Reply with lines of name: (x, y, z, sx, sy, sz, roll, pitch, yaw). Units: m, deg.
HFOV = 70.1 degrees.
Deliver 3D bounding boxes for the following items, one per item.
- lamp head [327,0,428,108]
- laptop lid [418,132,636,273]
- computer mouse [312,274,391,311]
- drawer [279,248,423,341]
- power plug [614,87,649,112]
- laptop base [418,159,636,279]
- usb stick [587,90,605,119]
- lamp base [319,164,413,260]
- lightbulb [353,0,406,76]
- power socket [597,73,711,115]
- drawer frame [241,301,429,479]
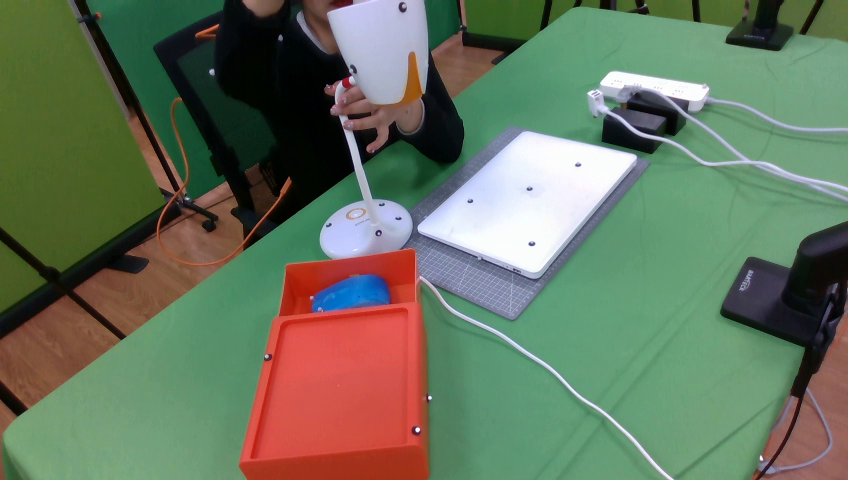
lamp head: (-0.047, -0.217, 0.708, 0.112, 0.123, 0.112, -9, 25, 4)
laptop lid: (0.182, -0.084, 1.036, 0.239, 0.013, 0.358, 22, 49, 35)
computer mouse: (-0.107, 0.086, 0.885, 0.117, 0.041, 0.062, -14, 40, 0)
drawer: (-0.100, 0.114, 0.828, 0.194, 0.073, 0.210, -7, 40, 1)
power plug: (0.406, -0.275, 1.193, 0.035, 0.053, 0.072, -15, 24, -16)
laptop base: (0.185, -0.074, 1.042, 0.233, 0.023, 0.355, 19, 48, 35)
usb stick: (0.334, -0.258, 1.170, 0.021, 0.059, 0.027, -29, 44, -6)
lamp base: (-0.102, -0.068, 0.962, 0.161, 0.181, 0.177, -30, 47, -21)
lightbulb: (-0.047, -0.245, 0.696, 0.059, 0.108, 0.059, -9, 17, 3)
power socket: (0.469, -0.304, 1.249, 0.225, 0.033, 0.072, 20, 49, 30)
drawer frame: (-0.096, 0.183, 0.741, 0.202, 0.083, 0.212, -6, 40, 3)
